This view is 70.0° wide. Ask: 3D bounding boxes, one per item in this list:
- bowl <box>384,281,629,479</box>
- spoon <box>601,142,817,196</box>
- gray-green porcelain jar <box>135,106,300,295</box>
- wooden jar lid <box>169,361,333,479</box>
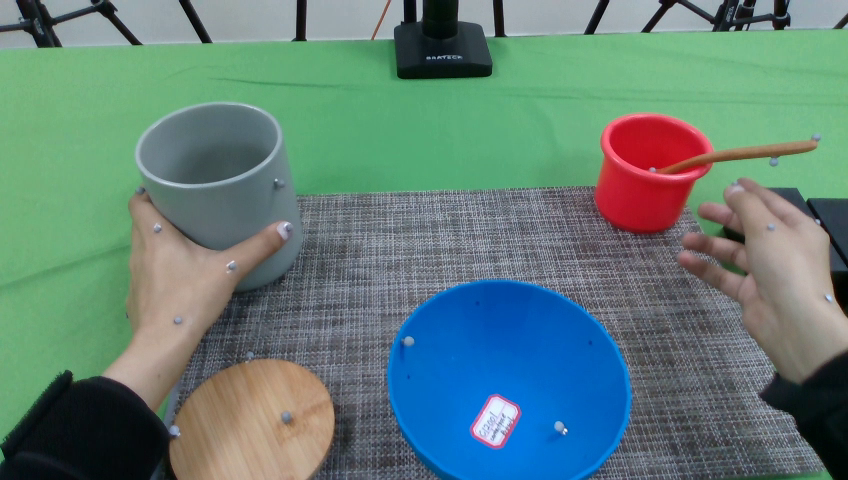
[{"bbox_3d":[0.050,0.109,0.400,0.151,0.077,0.150,1,46,-1],"label":"bowl"},{"bbox_3d":[0.234,-0.062,0.524,0.041,0.022,0.193,-37,13,-29],"label":"spoon"},{"bbox_3d":[-0.159,-0.026,0.492,0.106,0.127,0.105,1,46,-1],"label":"gray-green porcelain jar"},{"bbox_3d":[-0.116,0.133,0.413,0.108,0.021,0.107,0,45,0],"label":"wooden jar lid"}]
